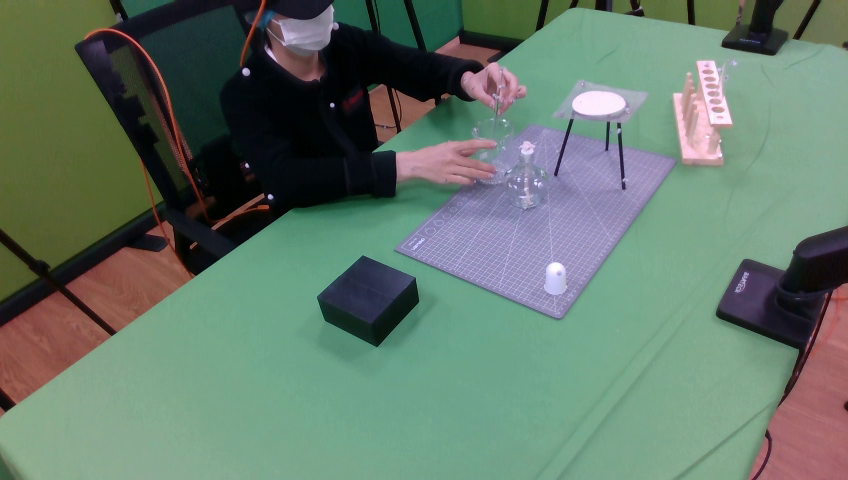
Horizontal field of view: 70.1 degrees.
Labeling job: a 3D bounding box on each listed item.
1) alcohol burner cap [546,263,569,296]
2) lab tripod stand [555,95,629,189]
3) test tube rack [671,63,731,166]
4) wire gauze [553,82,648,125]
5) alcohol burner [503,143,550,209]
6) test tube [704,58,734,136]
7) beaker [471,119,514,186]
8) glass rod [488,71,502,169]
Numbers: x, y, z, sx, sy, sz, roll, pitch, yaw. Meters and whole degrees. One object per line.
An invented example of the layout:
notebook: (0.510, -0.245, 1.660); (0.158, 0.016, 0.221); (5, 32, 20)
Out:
alcohol burner cap: (0.191, 0.053, 0.862); (0.034, 0.048, 0.033); (-5, 40, 4)
lab tripod stand: (0.300, -0.174, 1.045); (0.148, 0.132, 0.147); (-5, 38, 5)
test tube rack: (0.513, -0.241, 1.132); (0.066, 0.085, 0.242); (4, 41, 14)
wire gauze: (0.293, -0.225, 1.002); (0.120, 0.011, 0.125); (17, 45, 27)
alcohol burner: (0.171, -0.112, 1.006); (0.078, 0.119, 0.077); (-3, 41, 3)
test tube: (0.517, -0.248, 1.062); (0.017, 0.151, 0.017); (-3, 43, 4)
beaker: (0.125, -0.155, 1.077); (0.084, 0.101, 0.073); (-35, 47, -29)
glass rod: (0.124, -0.203, 1.053); (0.008, 0.200, 0.008); (1, 45, 0)
